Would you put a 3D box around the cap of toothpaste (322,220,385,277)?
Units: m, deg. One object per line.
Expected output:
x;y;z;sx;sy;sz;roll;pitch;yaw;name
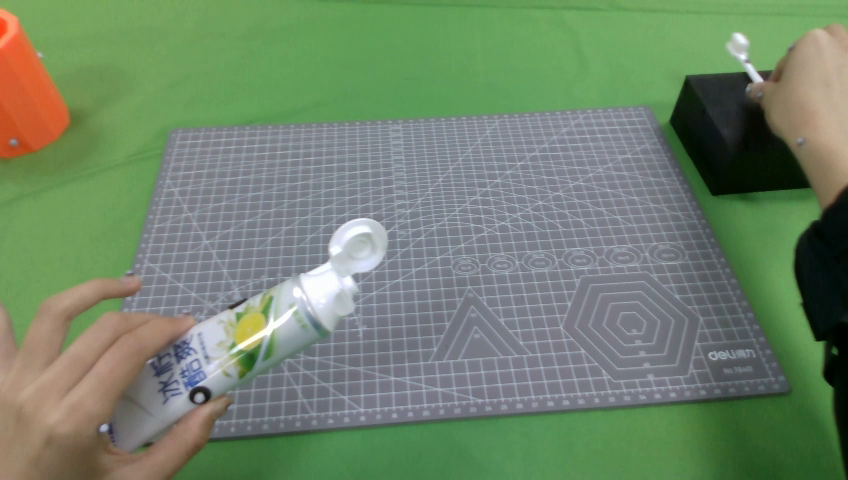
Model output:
-0.037;0.006;0.330;0.037;0.037;0.011;-21;34;-17;cap of toothpaste

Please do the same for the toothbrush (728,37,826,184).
0.291;-0.114;0.504;0.014;0.017;0.180;1;51;-4;toothbrush

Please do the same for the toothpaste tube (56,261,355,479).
-0.110;0.059;0.311;0.165;0.035;0.054;-29;59;-4;toothpaste tube

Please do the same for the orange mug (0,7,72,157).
-0.383;-0.127;0.516;0.083;0.101;0.126;30;52;22;orange mug
